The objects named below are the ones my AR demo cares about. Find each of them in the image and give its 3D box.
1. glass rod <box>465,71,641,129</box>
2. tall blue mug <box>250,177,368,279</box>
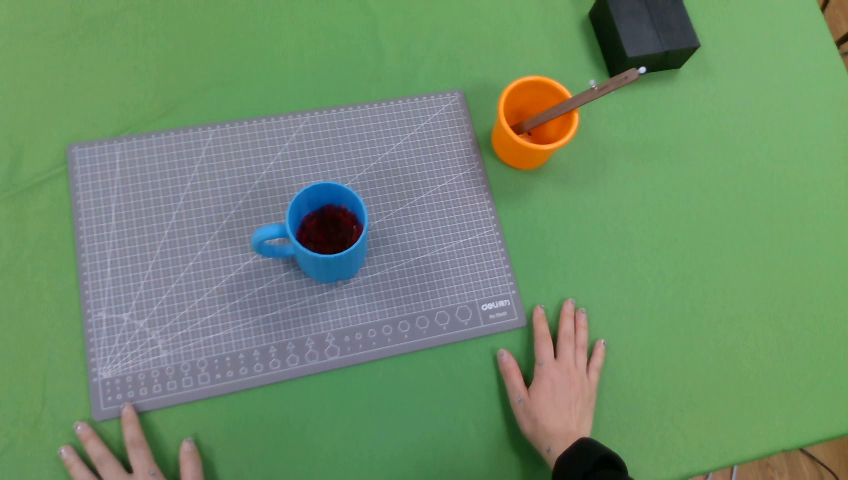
[{"bbox_3d":[0.138,-0.154,0.674,0.199,0.008,0.008,-13,73,24],"label":"glass rod"},{"bbox_3d":[-0.109,-0.001,0.609,0.107,0.108,0.077,-35,81,-15],"label":"tall blue mug"}]
